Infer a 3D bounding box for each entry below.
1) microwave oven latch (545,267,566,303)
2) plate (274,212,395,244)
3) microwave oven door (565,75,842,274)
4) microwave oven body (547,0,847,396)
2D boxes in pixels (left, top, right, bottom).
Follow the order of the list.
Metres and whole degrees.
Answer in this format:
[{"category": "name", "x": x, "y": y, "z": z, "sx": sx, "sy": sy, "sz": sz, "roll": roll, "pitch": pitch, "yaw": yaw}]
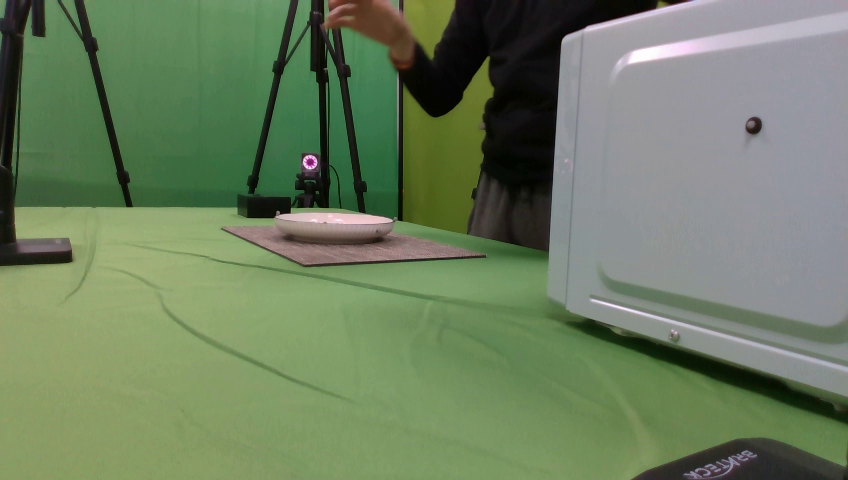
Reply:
[{"category": "microwave oven latch", "x": 0.147, "y": 0.039, "z": 0.555, "sx": 0.079, "sy": 0.029, "sz": 0.030, "roll": -2, "pitch": 7, "yaw": -29}, {"category": "plate", "x": -0.157, "y": -0.022, "z": 1.066, "sx": 0.209, "sy": 0.038, "sz": 0.209, "roll": 2, "pitch": 7, "yaw": 0}, {"category": "microwave oven door", "x": 0.369, "y": -0.096, "z": 0.857, "sx": 0.039, "sy": 0.243, "sz": 0.354, "roll": -5, "pitch": 9, "yaw": -45}, {"category": "microwave oven body", "x": 0.378, "y": -0.045, "z": 0.510, "sx": 0.444, "sy": 0.260, "sz": 0.324, "roll": -2, "pitch": 7, "yaw": -31}]
